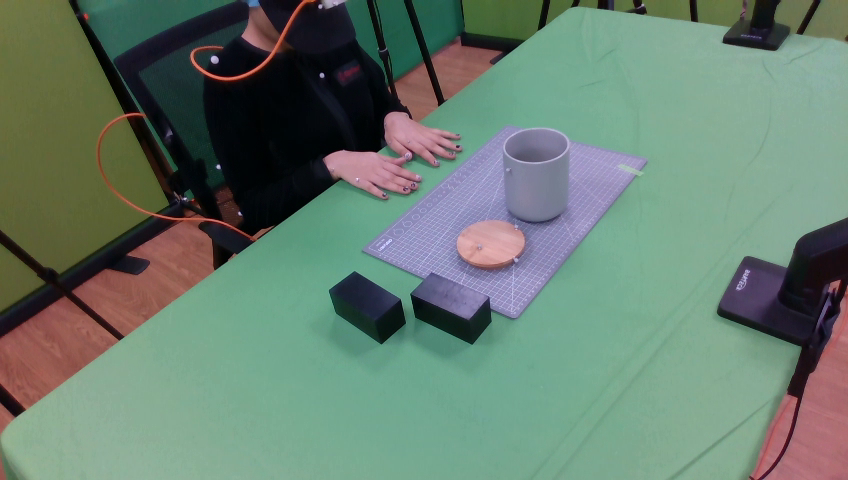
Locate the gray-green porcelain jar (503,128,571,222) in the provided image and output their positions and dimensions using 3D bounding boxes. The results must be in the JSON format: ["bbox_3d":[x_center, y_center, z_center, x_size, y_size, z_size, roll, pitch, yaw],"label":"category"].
[{"bbox_3d":[0.184,-0.102,0.983,0.106,0.127,0.105,-5,40,5],"label":"gray-green porcelain jar"}]

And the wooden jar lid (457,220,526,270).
[{"bbox_3d":[0.106,0.009,0.950,0.108,0.021,0.108,-4,40,4],"label":"wooden jar lid"}]
